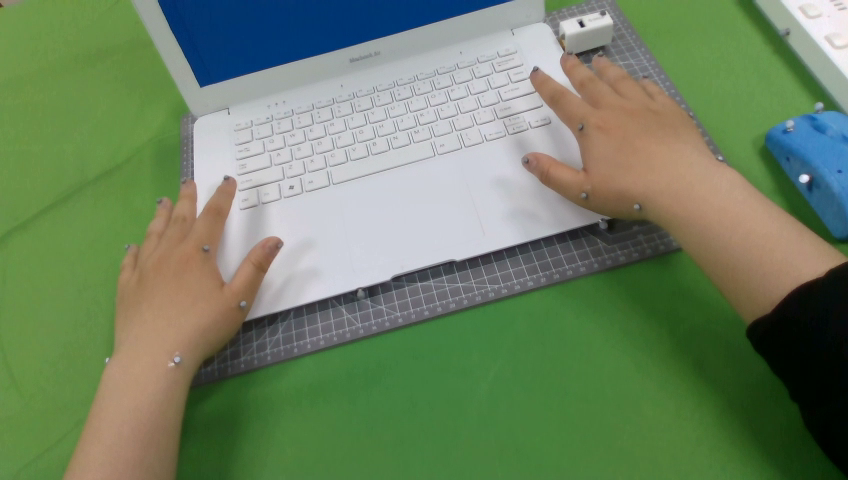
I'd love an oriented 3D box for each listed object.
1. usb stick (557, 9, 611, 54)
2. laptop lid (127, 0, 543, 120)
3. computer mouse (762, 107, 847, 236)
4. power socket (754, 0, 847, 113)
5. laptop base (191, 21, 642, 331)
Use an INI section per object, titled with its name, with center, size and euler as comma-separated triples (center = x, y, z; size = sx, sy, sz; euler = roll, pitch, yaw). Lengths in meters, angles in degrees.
[usb stick]
center = 0.140, -0.190, 0.558
size = 0.059, 0.027, 0.021
euler = -16, 56, 4
[laptop lid]
center = -0.078, -0.244, 0.510
size = 0.357, 0.244, 0.013
euler = -17, 42, 1
[computer mouse]
center = 0.304, -0.057, 0.442
size = 0.063, 0.041, 0.116
euler = -16, 50, 3
[power socket]
center = 0.353, -0.187, 0.521
size = 0.072, 0.033, 0.224
euler = -13, 55, 3
[laptop base]
center = -0.026, -0.067, 0.524
size = 0.354, 0.023, 0.233
euler = -16, 59, 0
